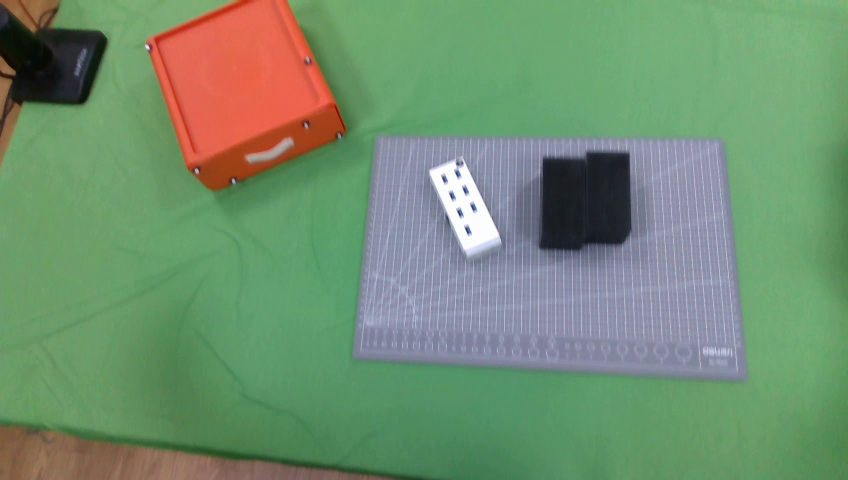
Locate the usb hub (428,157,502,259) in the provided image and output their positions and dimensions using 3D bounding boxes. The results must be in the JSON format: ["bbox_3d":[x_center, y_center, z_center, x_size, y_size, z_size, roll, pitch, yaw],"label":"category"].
[{"bbox_3d":[0.051,-0.041,0.759,0.049,0.025,0.124,-22,71,-4],"label":"usb hub"}]

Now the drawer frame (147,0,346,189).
[{"bbox_3d":[-0.239,-0.204,0.814,0.202,0.083,0.212,-25,69,-3],"label":"drawer frame"}]

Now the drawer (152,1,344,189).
[{"bbox_3d":[-0.238,-0.201,0.815,0.194,0.074,0.210,-24,70,-3],"label":"drawer"}]
